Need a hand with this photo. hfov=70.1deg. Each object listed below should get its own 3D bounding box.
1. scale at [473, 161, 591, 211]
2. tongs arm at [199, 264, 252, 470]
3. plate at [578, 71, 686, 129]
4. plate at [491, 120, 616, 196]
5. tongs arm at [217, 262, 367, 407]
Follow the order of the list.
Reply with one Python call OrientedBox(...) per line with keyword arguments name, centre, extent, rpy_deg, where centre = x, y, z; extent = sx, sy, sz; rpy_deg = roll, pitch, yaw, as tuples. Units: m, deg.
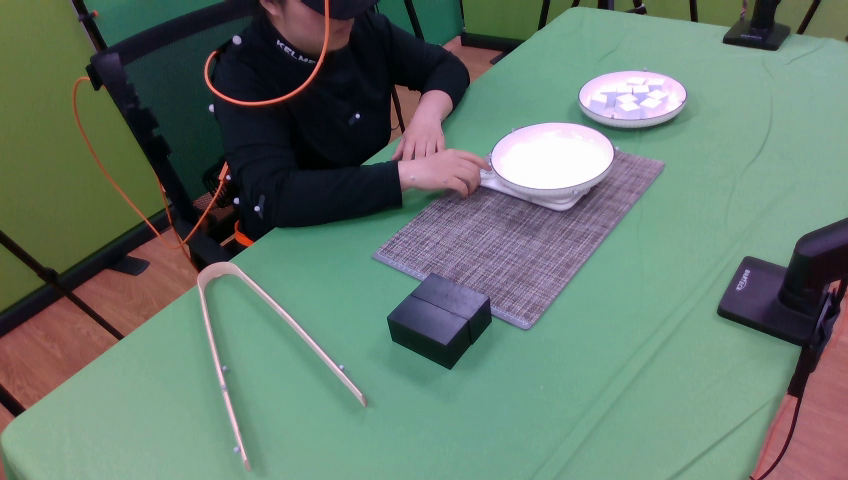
OrientedBox(name="scale", centre=(0.202, -0.121, 1.074), extent=(0.199, 0.032, 0.149), rpy_deg=(23, 49, 33))
OrientedBox(name="tongs arm", centre=(-0.269, 0.154, 0.841), extent=(0.051, 0.026, 0.381), rpy_deg=(-23, 41, -17))
OrientedBox(name="plate", centre=(0.416, -0.279, 1.222), extent=(0.209, 0.038, 0.208), rpy_deg=(-5, 41, 5))
OrientedBox(name="plate", centre=(0.221, -0.137, 1.038), extent=(0.207, 0.039, 0.206), rpy_deg=(-6, 41, 5))
OrientedBox(name="tongs arm", centre=(-0.200, 0.122, 0.871), extent=(0.028, 0.028, 0.384), rpy_deg=(-36, 46, -24))
